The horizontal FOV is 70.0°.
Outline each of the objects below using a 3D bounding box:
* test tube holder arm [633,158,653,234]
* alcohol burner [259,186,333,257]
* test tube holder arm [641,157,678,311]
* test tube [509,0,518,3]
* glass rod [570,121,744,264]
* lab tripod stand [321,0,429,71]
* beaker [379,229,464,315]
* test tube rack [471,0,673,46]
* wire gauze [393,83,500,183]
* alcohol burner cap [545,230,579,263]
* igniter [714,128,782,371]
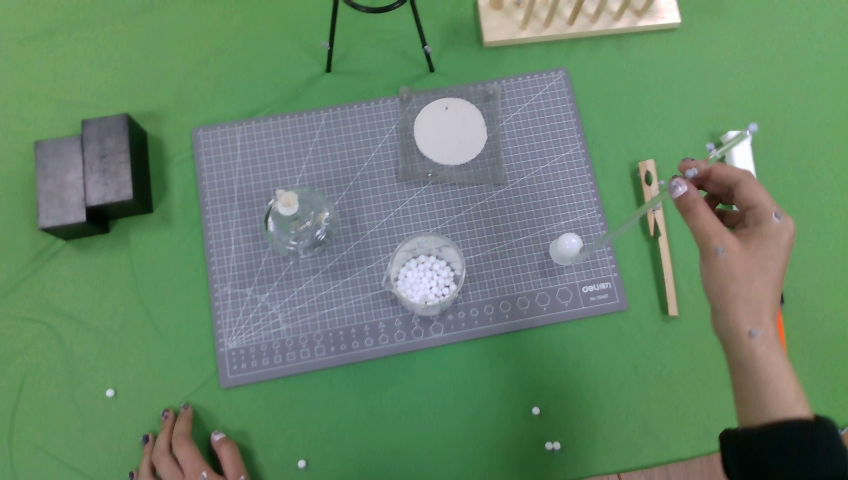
[{"bbox_3d":[0.254,-0.050,0.696,0.010,0.015,0.087,-15,76,31],"label":"test tube holder arm"},{"bbox_3d":[-0.136,-0.024,0.628,0.078,0.119,0.077,0,76,1],"label":"alcohol burner"},{"bbox_3d":[0.264,-0.008,0.683,0.013,0.015,0.177,-15,75,31],"label":"test tube holder arm"},{"bbox_3d":[0.113,-0.310,0.665,0.017,0.150,0.017,1,77,-4],"label":"test tube"},{"bbox_3d":[0.181,-0.031,0.499,0.008,0.200,0.008,15,53,-20],"label":"glass rod"},{"bbox_3d":[-0.059,-0.253,0.675,0.148,0.132,0.147,0,79,-1],"label":"lab tripod stand"},{"bbox_3d":[-0.003,0.039,0.625,0.084,0.100,0.073,-18,77,-4],"label":"beaker"},{"bbox_3d":[0.182,-0.293,0.713,0.242,0.085,0.066,-7,77,-3],"label":"test tube rack"},{"bbox_3d":[0.026,-0.127,0.710,0.125,0.011,0.121,1,78,-2],"label":"wire gauze"},{"bbox_3d":[0.154,0.005,0.665,0.034,0.048,0.033,0,77,-1],"label":"alcohol burner cap"},{"bbox_3d":[0.362,0.006,0.680,0.057,0.025,0.275,0,77,-11],"label":"igniter"}]
